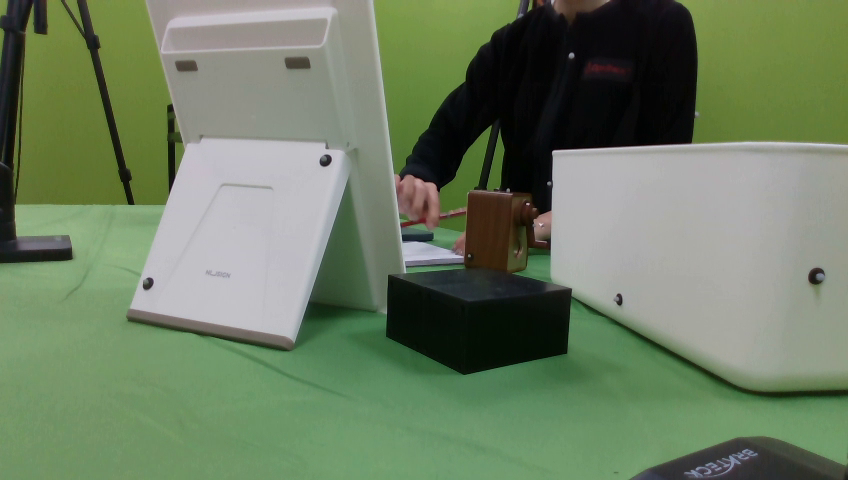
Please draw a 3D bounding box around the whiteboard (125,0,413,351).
[{"bbox_3d":[-0.151,-0.050,0.471,0.216,0.305,0.144,6,27,24],"label":"whiteboard"}]

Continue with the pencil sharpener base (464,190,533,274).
[{"bbox_3d":[0.102,-0.012,0.812,0.076,0.107,0.061,8,9,36],"label":"pencil sharpener base"}]

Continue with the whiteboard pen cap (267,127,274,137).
[{"bbox_3d":[-0.340,-0.239,1.337,0.018,0.018,0.033,1,-1,-14],"label":"whiteboard pen cap"}]

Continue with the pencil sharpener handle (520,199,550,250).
[{"bbox_3d":[0.147,-0.019,0.785,0.030,0.068,0.036,8,26,36],"label":"pencil sharpener handle"}]

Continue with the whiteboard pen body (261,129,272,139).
[{"bbox_3d":[-0.361,-0.245,1.393,0.017,0.017,0.140,0,5,-20],"label":"whiteboard pen body"}]

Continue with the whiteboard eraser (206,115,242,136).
[{"bbox_3d":[-0.438,-0.249,1.320,0.056,0.042,0.112,-3,9,-30],"label":"whiteboard eraser"}]

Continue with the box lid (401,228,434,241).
[{"bbox_3d":[-0.196,-0.015,1.105,0.373,0.015,0.262,-1,7,-32],"label":"box lid"}]

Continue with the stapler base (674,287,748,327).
[{"bbox_3d":[0.281,0.061,0.586,0.041,0.024,0.131,11,9,37],"label":"stapler base"}]

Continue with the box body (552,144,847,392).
[{"bbox_3d":[0.290,0.002,0.549,0.255,0.160,0.363,2,7,-10],"label":"box body"}]

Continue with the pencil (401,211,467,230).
[{"bbox_3d":[0.026,-0.030,0.864,0.195,0.012,0.012,-12,13,-22],"label":"pencil"}]

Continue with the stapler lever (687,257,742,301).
[{"bbox_3d":[0.283,0.035,0.585,0.026,0.040,0.119,11,8,37],"label":"stapler lever"}]
